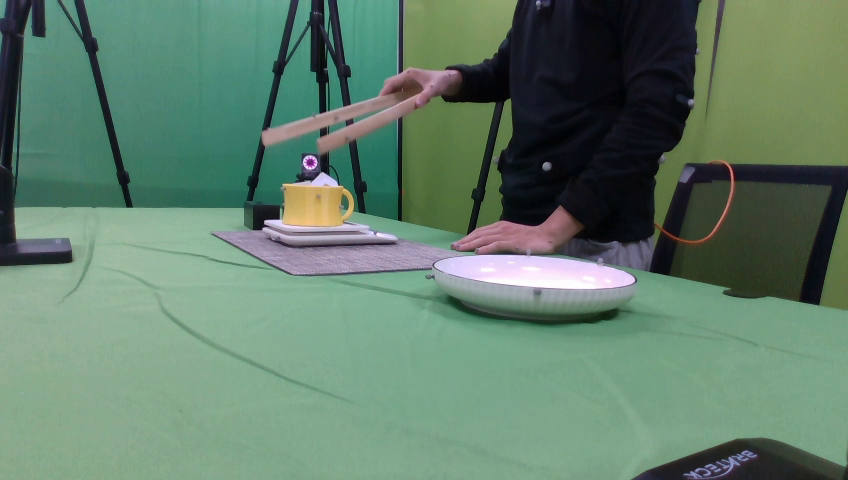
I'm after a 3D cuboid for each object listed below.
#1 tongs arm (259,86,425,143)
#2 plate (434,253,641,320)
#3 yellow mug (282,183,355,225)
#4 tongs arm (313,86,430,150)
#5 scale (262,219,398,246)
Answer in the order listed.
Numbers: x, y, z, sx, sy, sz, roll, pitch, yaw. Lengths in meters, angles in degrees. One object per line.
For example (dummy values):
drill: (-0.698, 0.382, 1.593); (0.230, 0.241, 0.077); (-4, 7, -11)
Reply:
tongs arm: (-0.138, -0.242, 1.146); (0.050, 0.026, 0.386); (12, 30, 39)
plate: (0.114, 0.047, 0.626); (0.208, 0.039, 0.207); (2, 7, 0)
yellow mug: (-0.172, -0.061, 1.009); (0.131, 0.064, 0.099); (-2, 7, -41)
tongs arm: (-0.080, -0.230, 1.105); (0.028, 0.028, 0.389); (3, 25, 31)
scale: (-0.160, -0.016, 1.028); (0.202, 0.031, 0.148); (-2, 8, -31)
